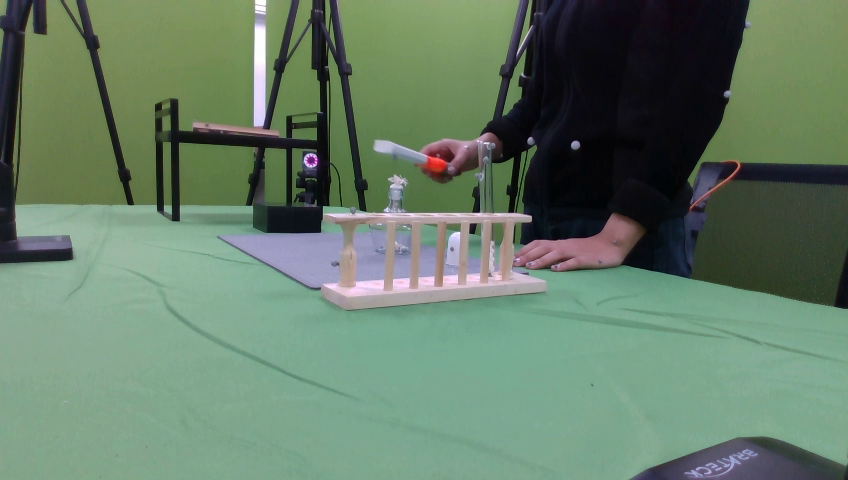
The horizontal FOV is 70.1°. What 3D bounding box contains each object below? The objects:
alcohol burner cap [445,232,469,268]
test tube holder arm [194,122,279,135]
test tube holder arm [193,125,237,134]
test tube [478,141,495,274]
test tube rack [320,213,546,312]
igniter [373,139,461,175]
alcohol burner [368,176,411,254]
[{"bbox_3d":[0.045,0.013,0.829,0.034,0.048,0.034,2,8,0],"label":"alcohol burner cap"},{"bbox_3d":[-0.401,-0.238,1.301,0.179,0.015,0.013,-2,-21,-29],"label":"test tube holder arm"},{"bbox_3d":[-0.443,-0.235,1.284,0.088,0.015,0.010,-2,-20,-28],"label":"test tube holder arm"},{"bbox_3d":[0.071,-0.036,0.683,0.017,0.150,0.017,-2,8,1],"label":"test tube"},{"bbox_3d":[0.018,0.017,0.638,0.244,0.085,0.066,-2,9,-31],"label":"test tube rack"},{"bbox_3d":[-0.003,-0.139,1.042,0.057,0.025,0.278,11,3,26],"label":"igniter"},{"bbox_3d":[-0.045,-0.038,0.912,0.078,0.119,0.078,4,7,0],"label":"alcohol burner"}]
